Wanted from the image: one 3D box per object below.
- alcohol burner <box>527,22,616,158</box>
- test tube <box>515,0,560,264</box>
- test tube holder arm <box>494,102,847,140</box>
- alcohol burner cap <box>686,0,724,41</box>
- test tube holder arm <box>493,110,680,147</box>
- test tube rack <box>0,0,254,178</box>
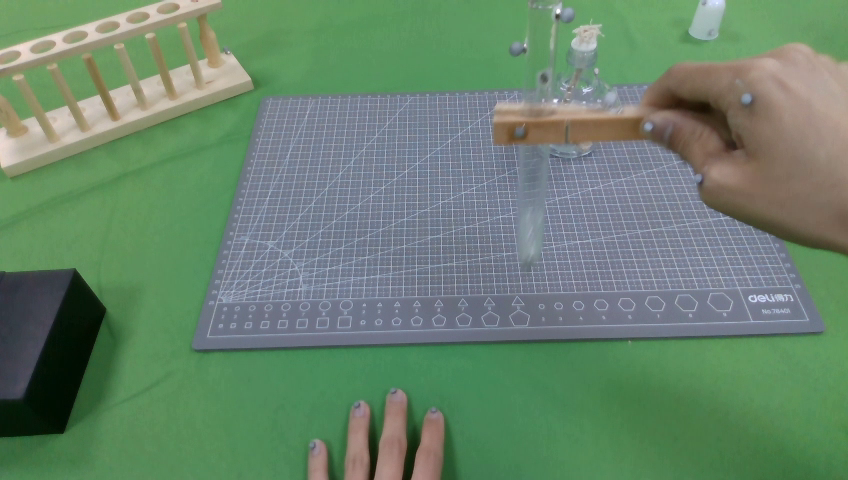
[{"bbox_3d":[0.130,-0.132,0.524,0.078,0.120,0.077,-1,48,1],"label":"alcohol burner"},{"bbox_3d":[0.057,-0.047,0.313,0.017,0.151,0.017,-3,38,2],"label":"test tube"},{"bbox_3d":[0.123,-0.057,0.293,0.178,0.015,0.013,3,46,12],"label":"test tube holder arm"},{"bbox_3d":[0.311,-0.247,0.666,0.034,0.048,0.033,-2,50,3],"label":"alcohol burner cap"},{"bbox_3d":[0.078,-0.055,0.297,0.088,0.015,0.010,-1,45,7],"label":"test tube holder arm"},{"bbox_3d":[-0.300,-0.155,0.586,0.242,0.086,0.066,-26,53,-19],"label":"test tube rack"}]
